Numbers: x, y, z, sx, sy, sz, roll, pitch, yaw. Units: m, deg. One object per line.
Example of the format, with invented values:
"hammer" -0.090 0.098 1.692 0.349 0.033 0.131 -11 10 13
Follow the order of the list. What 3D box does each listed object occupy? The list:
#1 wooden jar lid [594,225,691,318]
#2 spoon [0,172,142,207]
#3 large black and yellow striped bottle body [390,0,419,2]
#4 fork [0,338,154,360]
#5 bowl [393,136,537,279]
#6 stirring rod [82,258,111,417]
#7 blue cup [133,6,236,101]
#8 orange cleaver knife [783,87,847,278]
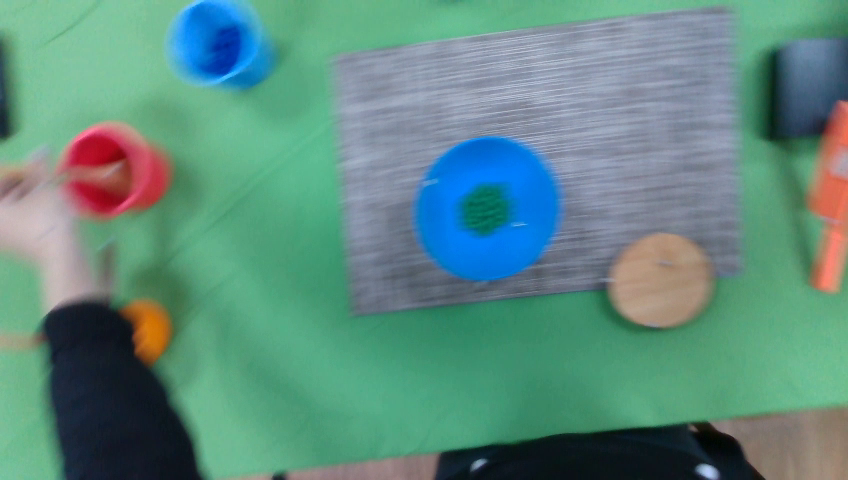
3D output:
"wooden jar lid" 0.248 0.035 0.694 0.108 0.020 0.108 0 100 2
"spoon" -0.413 -0.055 0.659 0.195 0.021 0.041 -4 96 -41
"large black and yellow striped bottle body" -0.026 -0.332 0.604 0.131 0.184 0.131 0 93 3
"fork" -0.408 0.122 0.666 0.209 0.018 0.028 8 106 -42
"bowl" 0.045 -0.035 0.669 0.151 0.077 0.151 0 93 3
"stirring rod" -0.358 0.107 0.661 0.014 0.006 0.176 -4 94 0
"blue cup" -0.251 -0.191 0.663 0.092 0.100 0.092 0 94 1
"orange cleaver knife" 0.413 -0.057 0.654 0.012 0.076 0.213 -12 122 0
